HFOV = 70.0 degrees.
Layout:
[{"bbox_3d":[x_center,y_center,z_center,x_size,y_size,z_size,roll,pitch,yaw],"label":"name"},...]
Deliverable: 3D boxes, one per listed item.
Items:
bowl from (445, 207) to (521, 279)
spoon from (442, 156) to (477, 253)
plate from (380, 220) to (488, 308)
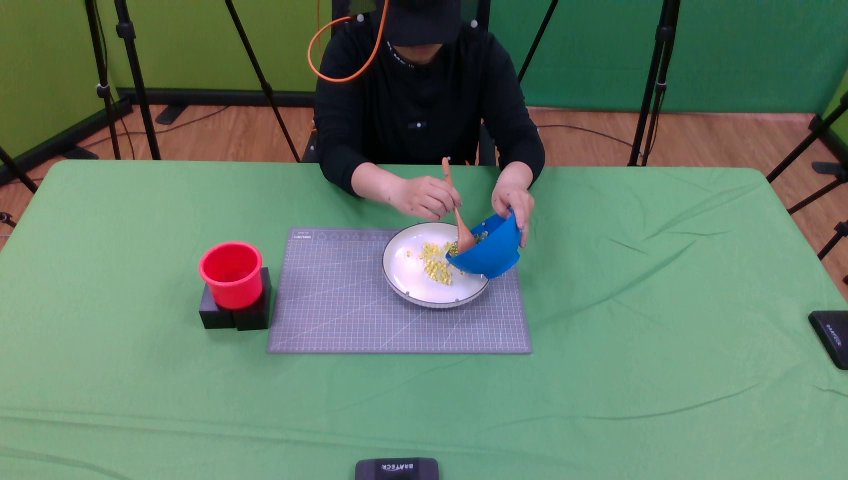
[{"bbox_3d":[0.119,0.016,1.076,0.151,0.151,0.077,-43,100,-35],"label":"bowl"},{"bbox_3d":[0.058,-0.056,1.084,0.042,0.021,0.193,-16,91,-24],"label":"spoon"},{"bbox_3d":[0.022,0.048,1.138,0.208,0.039,0.206,2,46,-2],"label":"plate"}]
